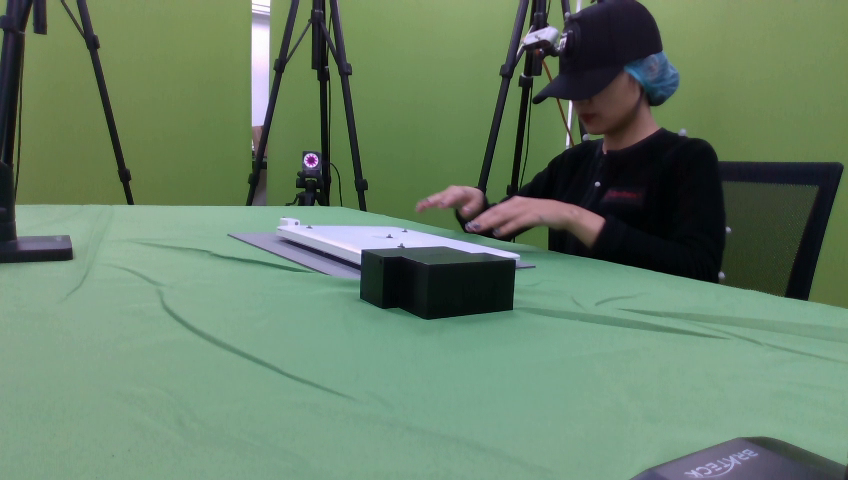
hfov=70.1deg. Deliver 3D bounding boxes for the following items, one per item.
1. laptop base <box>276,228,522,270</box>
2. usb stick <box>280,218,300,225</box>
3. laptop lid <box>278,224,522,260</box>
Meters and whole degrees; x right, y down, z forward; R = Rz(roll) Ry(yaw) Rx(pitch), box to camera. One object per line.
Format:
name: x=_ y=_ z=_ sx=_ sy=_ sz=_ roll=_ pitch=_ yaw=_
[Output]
laptop base: x=-0.055 y=0.011 z=0.910 sx=0.237 sy=0.023 sz=0.352 roll=1 pitch=6 yaw=-33
usb stick: x=-0.225 y=-0.023 z=1.024 sx=0.021 sy=0.027 sz=0.059 roll=0 pitch=9 yaw=-31
laptop lid: x=-0.052 y=-0.001 z=0.909 sx=0.243 sy=0.013 sz=0.355 roll=0 pitch=7 yaw=-32
